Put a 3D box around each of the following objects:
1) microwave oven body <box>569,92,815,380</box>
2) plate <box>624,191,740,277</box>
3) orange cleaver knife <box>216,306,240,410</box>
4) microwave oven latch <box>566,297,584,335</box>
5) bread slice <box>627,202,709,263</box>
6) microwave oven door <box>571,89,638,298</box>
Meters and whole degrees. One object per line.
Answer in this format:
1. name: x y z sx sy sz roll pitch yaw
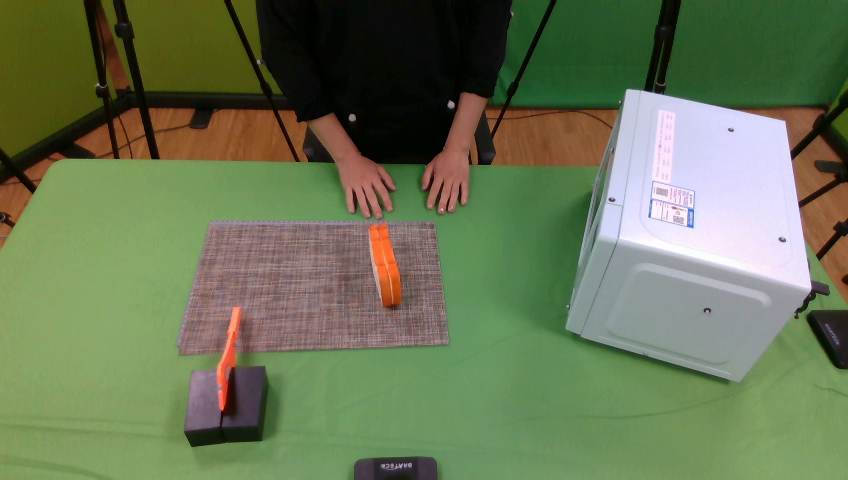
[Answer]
1. microwave oven body: 0.468 -0.022 1.082 0.325 0.261 0.440 15 46 11
2. plate: 0.482 -0.007 1.146 0.208 0.039 0.206 0 49 0
3. orange cleaver knife: -0.307 0.180 0.957 0.012 0.077 0.210 -2 25 -8
4. microwave oven latch: 0.268 0.126 1.059 0.030 0.029 0.079 16 46 12
5. bread slice: 0.474 -0.021 1.167 0.134 0.018 0.106 -30 55 -16
6. microwave oven door: 0.343 -0.091 1.133 0.039 0.245 0.354 15 47 10
